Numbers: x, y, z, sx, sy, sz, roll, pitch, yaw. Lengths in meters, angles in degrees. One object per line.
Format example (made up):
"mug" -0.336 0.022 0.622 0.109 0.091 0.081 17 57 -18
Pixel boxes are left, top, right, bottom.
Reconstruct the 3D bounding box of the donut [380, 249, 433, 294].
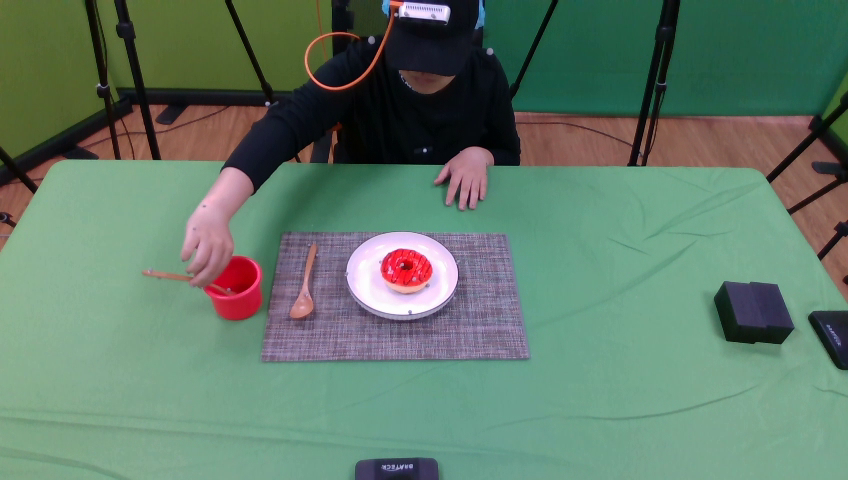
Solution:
"donut" -0.032 0.056 1.111 0.099 0.048 0.098 4 43 -3

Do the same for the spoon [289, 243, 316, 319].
"spoon" -0.215 0.071 1.108 0.041 0.022 0.192 -10 45 11

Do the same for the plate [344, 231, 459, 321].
"plate" -0.042 0.068 1.115 0.209 0.038 0.208 2 46 -2

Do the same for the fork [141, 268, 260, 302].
"fork" -0.366 0.075 1.007 0.208 0.018 0.028 26 14 -44
